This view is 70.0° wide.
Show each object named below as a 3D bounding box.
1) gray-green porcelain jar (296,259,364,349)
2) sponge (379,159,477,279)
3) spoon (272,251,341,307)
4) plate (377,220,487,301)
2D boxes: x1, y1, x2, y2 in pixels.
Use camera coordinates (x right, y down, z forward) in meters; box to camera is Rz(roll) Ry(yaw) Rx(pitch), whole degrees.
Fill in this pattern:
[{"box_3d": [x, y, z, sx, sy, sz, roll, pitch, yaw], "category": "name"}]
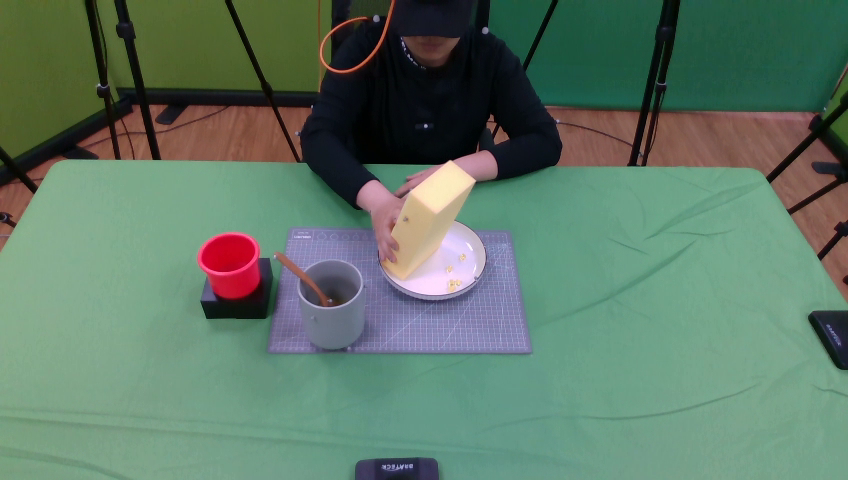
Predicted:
[{"box_3d": [-0.152, 0.111, 1.003, 0.106, 0.127, 0.105, 2, 46, -2], "category": "gray-green porcelain jar"}, {"box_3d": [0.004, -0.033, 1.078, 0.061, 0.207, 0.118, 41, 50, 10], "category": "sponge"}, {"box_3d": [-0.180, 0.077, 0.982, 0.021, 0.195, 0.041, -8, 46, 28], "category": "spoon"}, {"box_3d": [0.015, 0.037, 1.147, 0.208, 0.039, 0.206, 2, 46, -2], "category": "plate"}]
